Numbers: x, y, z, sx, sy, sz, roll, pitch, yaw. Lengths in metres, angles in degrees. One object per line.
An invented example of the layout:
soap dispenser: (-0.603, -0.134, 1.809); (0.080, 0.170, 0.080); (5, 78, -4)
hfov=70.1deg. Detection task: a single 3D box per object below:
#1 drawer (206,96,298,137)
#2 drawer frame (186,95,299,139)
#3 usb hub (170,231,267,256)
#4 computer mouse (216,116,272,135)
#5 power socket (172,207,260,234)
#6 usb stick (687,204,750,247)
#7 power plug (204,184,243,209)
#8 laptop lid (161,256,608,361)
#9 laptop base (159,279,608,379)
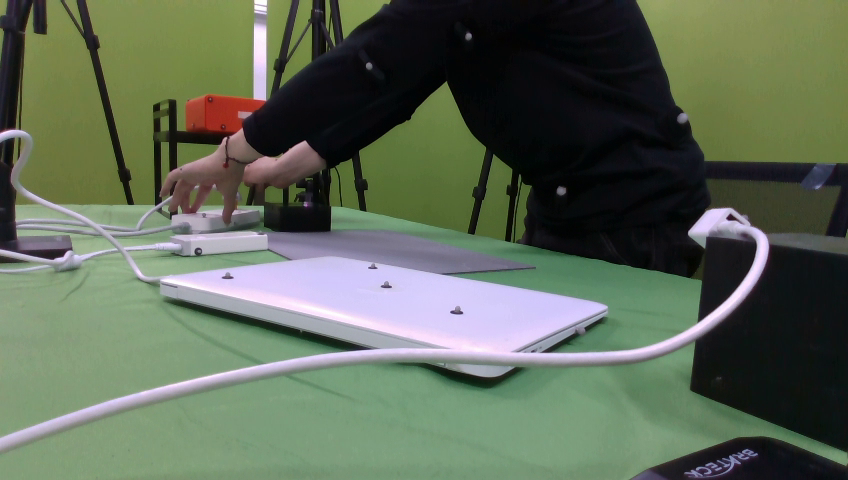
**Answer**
drawer: (-0.414, -0.275, 1.376); (0.195, 0.073, 0.210); (-3, 8, -31)
drawer frame: (-0.417, -0.277, 1.378); (0.203, 0.082, 0.212); (-3, 8, -32)
usb hub: (-0.290, 0.004, 0.862); (0.049, 0.025, 0.126); (11, 11, 42)
computer mouse: (-0.402, -0.257, 1.353); (0.118, 0.041, 0.062); (-6, 14, -34)
power socket: (-0.381, -0.038, 1.129); (0.072, 0.032, 0.227); (3, 8, 11)
usb stick: (0.214, -0.010, 0.448); (0.021, 0.027, 0.059); (39, 2, 6)
power plug: (-0.396, -0.085, 1.204); (0.072, 0.052, 0.035); (-1, 0, 15)
laptop lid: (-0.037, 0.046, 0.555); (0.355, 0.013, 0.243); (8, 8, 35)
laptop base: (-0.038, 0.058, 0.555); (0.352, 0.023, 0.237); (8, 7, 33)
